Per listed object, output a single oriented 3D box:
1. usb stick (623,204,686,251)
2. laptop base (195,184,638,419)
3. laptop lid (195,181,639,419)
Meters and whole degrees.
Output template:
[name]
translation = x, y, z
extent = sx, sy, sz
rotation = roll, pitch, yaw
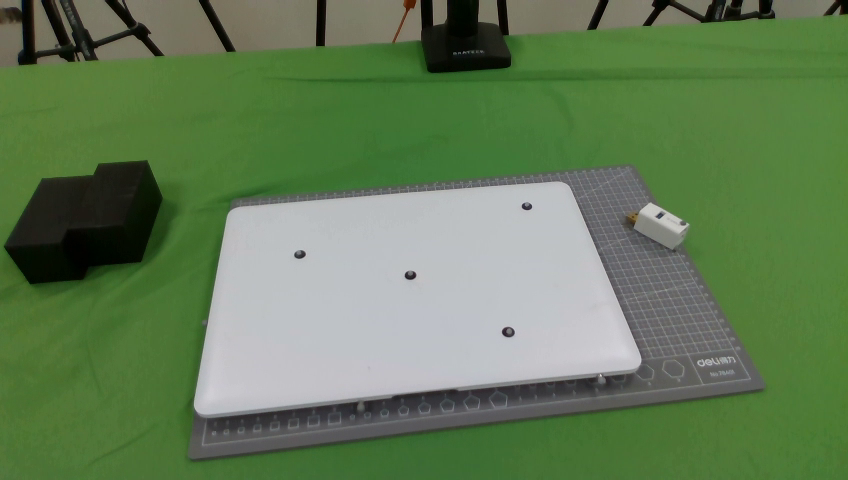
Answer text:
[usb stick]
translation = 0.227, -0.016, 0.603
extent = 0.021, 0.027, 0.058
rotation = -34, 51, -29
[laptop base]
translation = -0.012, 0.043, 0.555
extent = 0.355, 0.023, 0.233
rotation = -5, 48, -4
[laptop lid]
translation = -0.012, 0.036, 0.545
extent = 0.357, 0.013, 0.239
rotation = -4, 46, -3
